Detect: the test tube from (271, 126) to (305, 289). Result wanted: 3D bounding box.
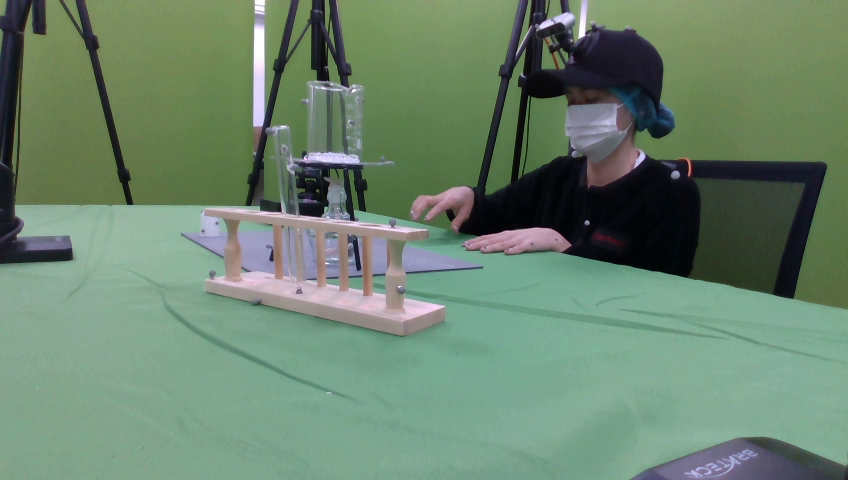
[{"bbox_3d":[-0.124,-0.028,0.554,0.017,0.150,0.017,-5,7,1],"label":"test tube"}]

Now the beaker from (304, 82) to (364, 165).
[{"bbox_3d":[-0.115,-0.148,0.779,0.074,0.100,0.083,-2,10,-30],"label":"beaker"}]

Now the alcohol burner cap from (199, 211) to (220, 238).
[{"bbox_3d":[-0.356,-0.027,1.002,0.034,0.048,0.034,3,7,0],"label":"alcohol burner cap"}]

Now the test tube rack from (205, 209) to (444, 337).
[{"bbox_3d":[-0.100,0.021,0.565,0.241,0.085,0.067,7,9,32],"label":"test tube rack"}]

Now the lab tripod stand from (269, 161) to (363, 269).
[{"bbox_3d":[-0.125,-0.036,0.794,0.148,0.131,0.148,5,7,0],"label":"lab tripod stand"}]

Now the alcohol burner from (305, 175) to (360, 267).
[{"bbox_3d":[-0.117,-0.025,0.792,0.078,0.119,0.078,1,8,0],"label":"alcohol burner"}]

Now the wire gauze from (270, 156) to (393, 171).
[{"bbox_3d":[-0.122,-0.100,0.786,0.122,0.011,0.124,-5,14,-38],"label":"wire gauze"}]
